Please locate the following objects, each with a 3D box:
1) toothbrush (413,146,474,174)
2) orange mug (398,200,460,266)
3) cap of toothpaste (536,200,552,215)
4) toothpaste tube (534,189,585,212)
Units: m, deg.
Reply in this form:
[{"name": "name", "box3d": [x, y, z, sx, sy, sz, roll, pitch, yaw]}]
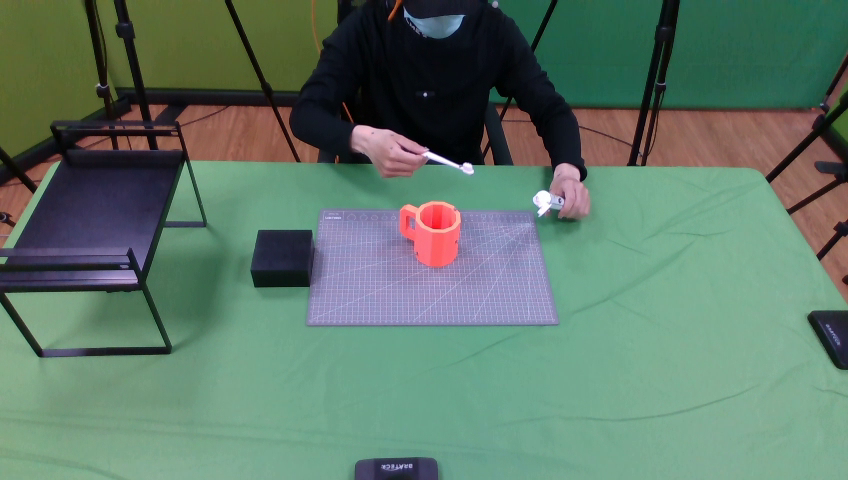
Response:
[{"name": "toothbrush", "box3d": [0.032, -0.155, 1.148, 0.014, 0.017, 0.181, -36, 38, -21]}, {"name": "orange mug", "box3d": [0.007, -0.020, 1.161, 0.126, 0.101, 0.083, 27, 50, 15]}, {"name": "cap of toothpaste", "box3d": [0.226, -0.063, 1.147, 0.011, 0.037, 0.037, 48, 54, -3]}, {"name": "toothpaste tube", "box3d": [0.271, -0.077, 1.224, 0.055, 0.034, 0.166, 40, 21, 33]}]
